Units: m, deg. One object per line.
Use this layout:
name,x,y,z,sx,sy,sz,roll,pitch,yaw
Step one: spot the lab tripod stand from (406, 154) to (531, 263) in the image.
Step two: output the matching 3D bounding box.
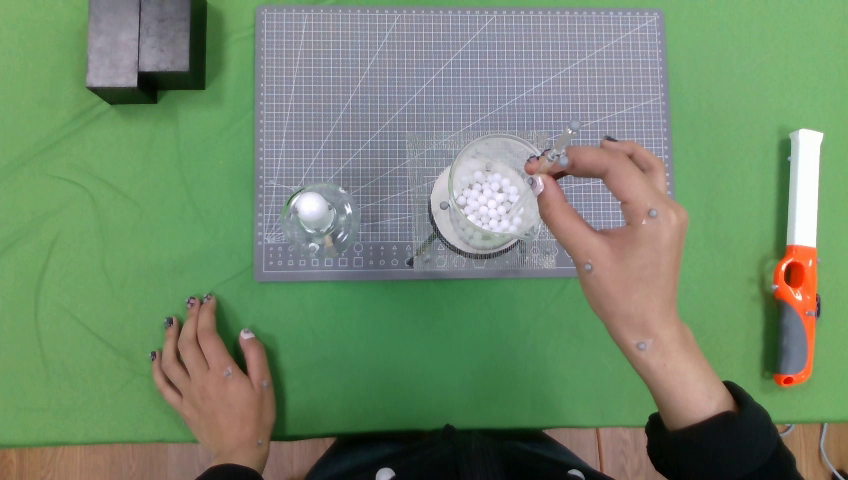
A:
lab tripod stand,0.043,-0.027,0.581,0.148,0.132,0.148,0,83,-1

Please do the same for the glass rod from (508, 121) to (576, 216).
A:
glass rod,0.074,-0.040,0.408,0.008,0.200,0.008,0,79,-1

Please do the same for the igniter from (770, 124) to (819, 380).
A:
igniter,0.400,0.012,0.650,0.057,0.025,0.276,8,84,-13

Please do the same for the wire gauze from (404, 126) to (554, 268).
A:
wire gauze,0.047,-0.037,0.516,0.125,0.011,0.121,-2,82,-1

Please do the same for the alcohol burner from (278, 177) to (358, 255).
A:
alcohol burner,-0.104,-0.026,0.583,0.078,0.119,0.077,0,82,-3

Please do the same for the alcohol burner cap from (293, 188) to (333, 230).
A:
alcohol burner cap,-0.102,-0.029,0.547,0.034,0.048,0.033,0,79,-1

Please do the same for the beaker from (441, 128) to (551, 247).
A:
beaker,0.052,-0.032,0.467,0.074,0.100,0.084,-33,85,-6
